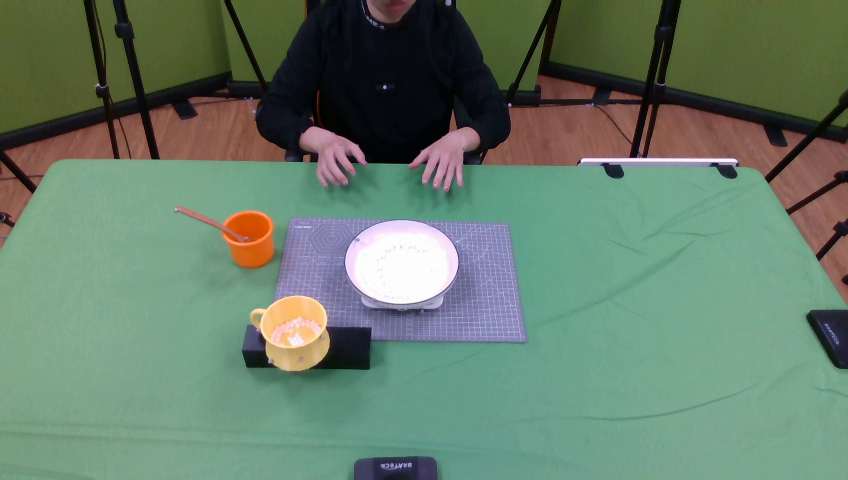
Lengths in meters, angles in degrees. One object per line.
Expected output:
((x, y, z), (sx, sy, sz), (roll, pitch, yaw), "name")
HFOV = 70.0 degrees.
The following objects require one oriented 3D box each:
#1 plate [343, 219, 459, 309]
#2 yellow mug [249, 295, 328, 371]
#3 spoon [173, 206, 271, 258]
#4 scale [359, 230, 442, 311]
((-0.041, 0.045, 1.094), (0.209, 0.038, 0.208), (2, 46, -2), "plate")
((-0.216, 0.139, 0.946), (0.130, 0.064, 0.099), (17, 47, 12), "yellow mug")
((-0.362, -0.017, 1.098), (0.021, 0.195, 0.041), (-32, 42, 27), "spoon")
((-0.042, 0.047, 1.138), (0.149, 0.032, 0.199), (2, 46, -3), "scale")
